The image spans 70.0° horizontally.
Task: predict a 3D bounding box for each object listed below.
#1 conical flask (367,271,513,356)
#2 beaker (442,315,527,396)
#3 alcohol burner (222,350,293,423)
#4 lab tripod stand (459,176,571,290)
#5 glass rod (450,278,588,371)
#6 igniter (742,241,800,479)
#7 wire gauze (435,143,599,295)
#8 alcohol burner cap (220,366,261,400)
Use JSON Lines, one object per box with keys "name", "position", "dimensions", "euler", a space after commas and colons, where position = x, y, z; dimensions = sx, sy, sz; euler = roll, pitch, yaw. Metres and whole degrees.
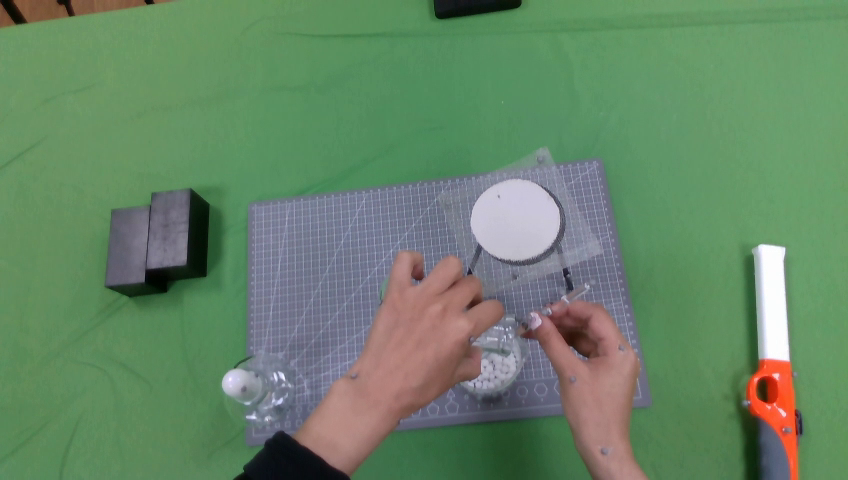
{"name": "conical flask", "position": [0.015, 0.073, 0.532], "dimensions": [0.122, 0.075, 0.075], "euler": [10, 72, -1]}
{"name": "beaker", "position": [0.064, 0.124, 0.636], "dimensions": [0.084, 0.101, 0.073], "euler": [-9, 71, 3]}
{"name": "alcohol burner", "position": [-0.184, 0.155, 0.646], "dimensions": [0.078, 0.120, 0.077], "euler": [-1, 73, 5]}
{"name": "lab tripod stand", "position": [0.097, 0.001, 0.655], "dimensions": [0.148, 0.132, 0.147], "euler": [-2, 73, 7]}
{"name": "glass rod", "position": [0.078, 0.081, 0.548], "dimensions": [0.008, 0.200, 0.008], "euler": [19, 51, -24]}
{"name": "igniter", "position": [0.364, 0.134, 0.640], "dimensions": [0.057, 0.025, 0.275], "euler": [8, 73, -2]}
{"name": "wire gauze", "position": [0.088, -0.021, 0.592], "dimensions": [0.125, 0.011, 0.120], "euler": [-23, 72, 0]}
{"name": "alcohol burner cap", "position": [-0.187, 0.142, 0.612], "dimensions": [0.034, 0.048, 0.033], "euler": [0, 69, 2]}
